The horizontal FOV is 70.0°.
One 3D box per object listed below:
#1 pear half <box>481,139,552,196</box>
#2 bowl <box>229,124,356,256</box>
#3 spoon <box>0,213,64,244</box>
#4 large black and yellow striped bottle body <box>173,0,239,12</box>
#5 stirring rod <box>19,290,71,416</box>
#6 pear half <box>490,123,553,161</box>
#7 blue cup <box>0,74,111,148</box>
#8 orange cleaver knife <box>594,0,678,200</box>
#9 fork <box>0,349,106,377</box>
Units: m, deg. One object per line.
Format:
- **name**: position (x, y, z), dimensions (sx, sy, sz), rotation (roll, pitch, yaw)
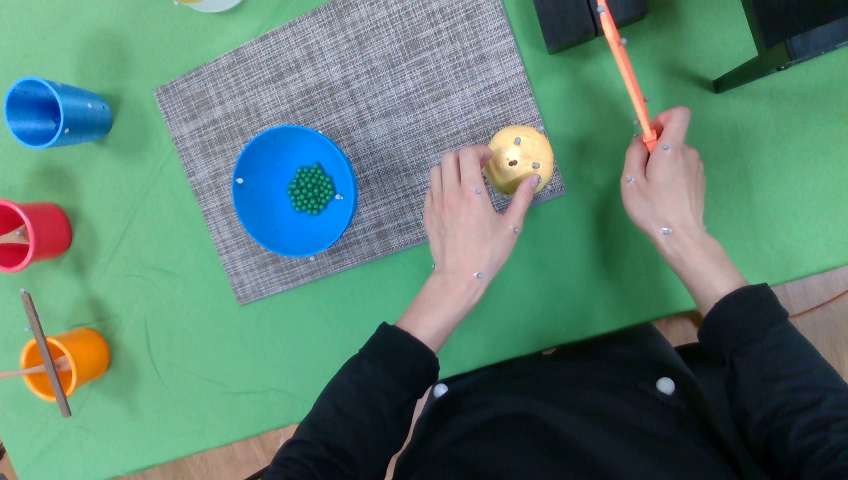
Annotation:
- **pear half**: position (0.093, -0.074, 0.643), dimensions (0.076, 0.110, 0.056), rotation (18, 102, 15)
- **bowl**: position (-0.143, -0.061, 0.718), dimensions (0.151, 0.077, 0.151), rotation (2, 100, 13)
- **spoon**: position (-0.587, 0.002, 0.805), dimensions (0.194, 0.021, 0.042), rotation (-16, 98, -28)
- **large black and yellow striped bottle body**: position (-0.280, -0.333, 0.655), dimensions (0.130, 0.184, 0.131), rotation (2, 99, 13)
- **stirring rod**: position (-0.503, 0.151, 0.804), dimensions (0.014, 0.006, 0.176), rotation (-14, 96, 12)
- **pear half**: position (0.106, -0.108, 0.644), dimensions (0.070, 0.088, 0.031), rotation (16, 103, 15)
- **blue cup**: position (-0.458, -0.161, 0.768), dimensions (0.092, 0.100, 0.093), rotation (2, 100, 11)
- **orange cleaver knife**: position (0.207, -0.136, 0.592), dimensions (0.012, 0.076, 0.213), rotation (-20, 117, 24)
- **fork**: position (-0.548, 0.175, 0.820), dimensions (0.208, 0.018, 0.028), rotation (-6, 111, -30)
